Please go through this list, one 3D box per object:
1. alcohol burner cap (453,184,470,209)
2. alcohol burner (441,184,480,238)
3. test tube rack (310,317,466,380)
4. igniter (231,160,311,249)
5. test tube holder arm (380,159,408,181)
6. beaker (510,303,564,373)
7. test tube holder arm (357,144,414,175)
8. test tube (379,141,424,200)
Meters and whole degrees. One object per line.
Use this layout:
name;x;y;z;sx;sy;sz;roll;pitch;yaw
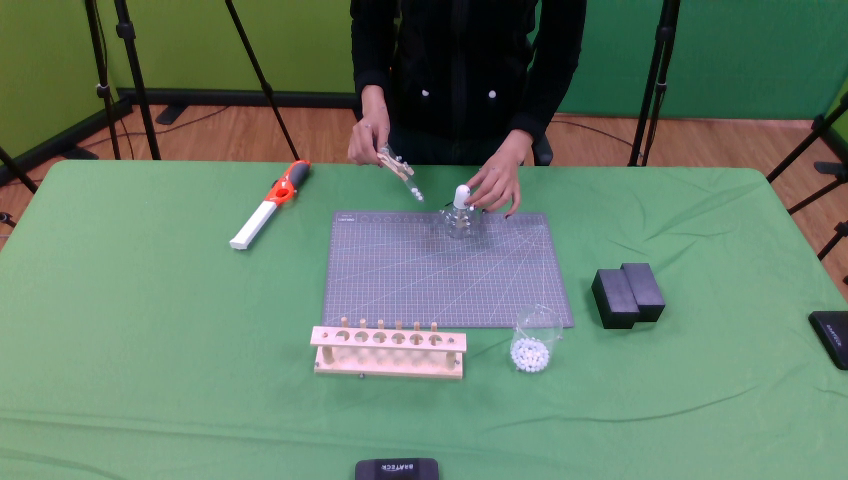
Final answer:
alcohol burner cap;0.074;-0.087;1.169;0.034;0.048;0.033;5;43;-5
alcohol burner;0.073;-0.062;1.195;0.078;0.120;0.077;1;47;0
test tube rack;-0.056;0.171;0.986;0.242;0.085;0.066;3;45;-1
igniter;-0.311;-0.081;1.250;0.057;0.025;0.275;9;45;18
test tube holder arm;-0.054;-0.128;1.076;0.010;0.015;0.087;-41;40;-5
beaker;0.182;0.164;1.000;0.074;0.101;0.083;2;45;-1
test tube holder arm;-0.074;-0.149;1.110;0.013;0.015;0.177;-45;41;-11
test tube;-0.036;-0.119;1.062;0.017;0.151;0.017;-16;49;20
